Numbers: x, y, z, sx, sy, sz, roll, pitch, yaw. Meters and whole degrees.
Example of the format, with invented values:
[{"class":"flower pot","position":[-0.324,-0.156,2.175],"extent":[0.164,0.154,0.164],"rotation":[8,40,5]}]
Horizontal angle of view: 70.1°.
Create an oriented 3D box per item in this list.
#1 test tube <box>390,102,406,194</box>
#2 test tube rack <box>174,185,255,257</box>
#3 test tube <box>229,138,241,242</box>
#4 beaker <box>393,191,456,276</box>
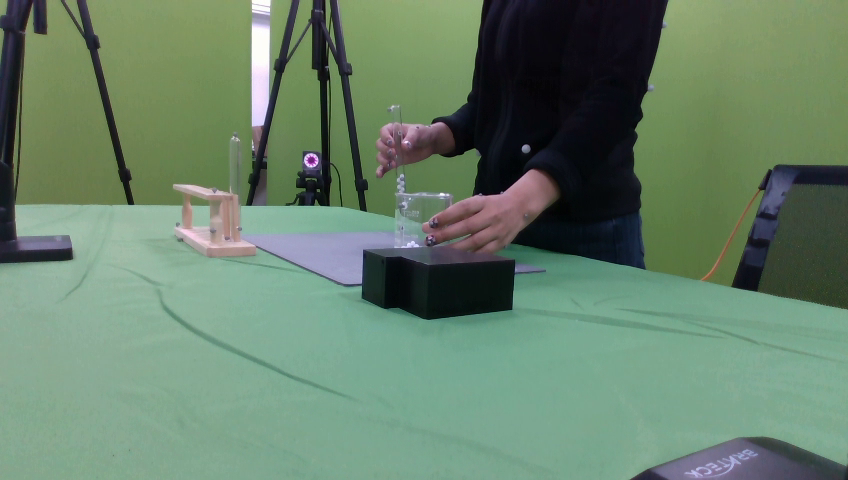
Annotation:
[{"class":"test tube","position":[-0.042,-0.148,0.988],"extent":[0.017,0.150,0.017],"rotation":[-3,19,1]},{"class":"test tube rack","position":[-0.324,-0.035,0.922],"extent":[0.067,0.085,0.241],"rotation":[-2,9,-32]},{"class":"test tube","position":[-0.270,-0.071,0.866],"extent":[0.017,0.150,0.017],"rotation":[2,8,0]},{"class":"beaker","position":[-0.004,-0.010,0.749],"extent":[0.074,0.100,0.083],"rotation":[-3,8,-40]}]
